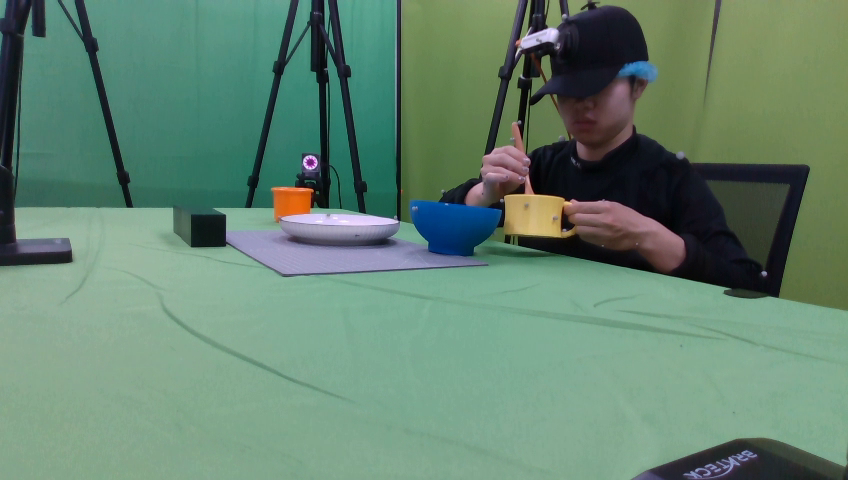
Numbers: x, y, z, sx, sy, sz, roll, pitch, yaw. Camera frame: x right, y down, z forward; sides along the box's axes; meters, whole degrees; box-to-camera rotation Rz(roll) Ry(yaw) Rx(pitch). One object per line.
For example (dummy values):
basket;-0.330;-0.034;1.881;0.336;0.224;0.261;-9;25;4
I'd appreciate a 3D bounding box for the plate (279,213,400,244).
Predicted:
plate;-0.147;-0.020;1.060;0.209;0.038;0.209;3;7;0

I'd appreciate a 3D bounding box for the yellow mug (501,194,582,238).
yellow mug;0.195;-0.037;0.996;0.131;0.064;0.100;4;-1;1

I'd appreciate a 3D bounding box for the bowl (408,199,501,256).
bowl;0.045;-0.019;0.968;0.151;0.077;0.151;6;5;0

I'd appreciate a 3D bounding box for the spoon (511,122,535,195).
spoon;0.167;-0.106;0.997;0.041;0.193;0.022;-23;-24;37
